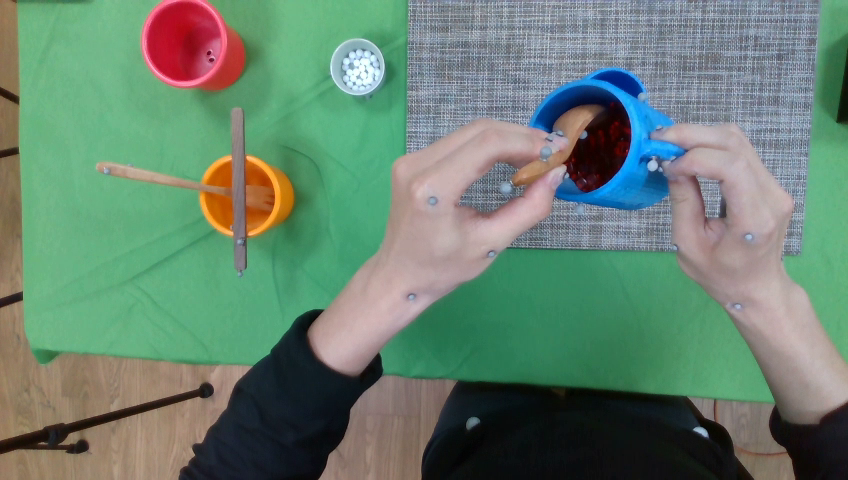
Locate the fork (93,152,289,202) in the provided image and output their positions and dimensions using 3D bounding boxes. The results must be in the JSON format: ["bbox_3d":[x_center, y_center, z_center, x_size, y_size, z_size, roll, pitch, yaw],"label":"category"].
[{"bbox_3d":[-0.245,-0.069,0.662,0.209,0.018,0.028,9,106,-40],"label":"fork"}]

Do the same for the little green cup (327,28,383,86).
[{"bbox_3d":[-0.076,-0.205,0.688,0.061,0.038,0.061,1,97,6],"label":"little green cup"}]

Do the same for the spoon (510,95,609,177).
[{"bbox_3d":[0.086,-0.066,0.376,0.041,0.193,0.022,-17,106,29],"label":"spoon"}]

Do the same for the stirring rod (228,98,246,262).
[{"bbox_3d":[-0.203,-0.064,0.656,0.014,0.006,0.176,1,96,6],"label":"stirring rod"}]

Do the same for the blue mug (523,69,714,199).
[{"bbox_3d":[0.148,-0.071,0.438,0.115,0.106,0.082,16,100,37],"label":"blue mug"}]

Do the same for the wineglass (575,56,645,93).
[{"bbox_3d":[0.166,-0.133,0.603,0.073,0.172,0.074,1,95,5],"label":"wineglass"}]
